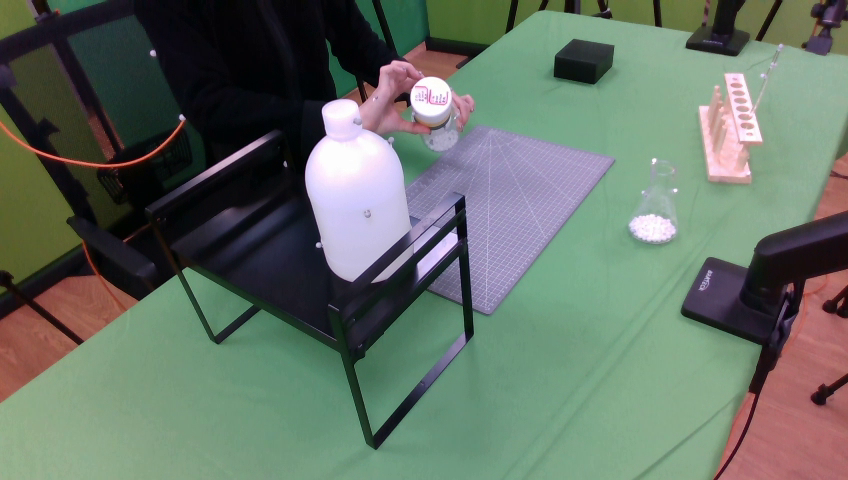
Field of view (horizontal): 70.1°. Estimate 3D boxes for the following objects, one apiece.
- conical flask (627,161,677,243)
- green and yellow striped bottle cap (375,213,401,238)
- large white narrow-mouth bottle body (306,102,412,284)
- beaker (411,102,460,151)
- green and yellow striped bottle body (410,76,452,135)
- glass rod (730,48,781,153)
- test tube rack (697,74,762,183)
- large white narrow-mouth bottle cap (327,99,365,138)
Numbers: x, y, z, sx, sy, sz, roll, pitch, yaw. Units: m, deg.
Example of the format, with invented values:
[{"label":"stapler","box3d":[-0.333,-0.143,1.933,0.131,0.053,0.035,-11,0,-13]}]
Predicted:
[{"label":"conical flask","box3d":[0.355,-0.061,0.921,0.075,0.122,0.075,-4,41,4]},{"label":"green and yellow striped bottle cap","box3d":[-0.061,-0.025,1.016,0.045,0.020,0.045,-2,42,2]},{"label":"large white narrow-mouth bottle body","box3d":[-0.070,-0.051,0.637,0.102,0.195,0.101,-3,40,3]},{"label":"beaker","box3d":[0.026,-0.203,1.062,0.084,0.100,0.074,-10,79,7]},{"label":"green and yellow striped bottle body","box3d":[0.013,-0.207,0.962,0.063,0.120,0.063,0,81,2]},{"label":"glass rod","box3d":[0.554,-0.228,1.015,0.008,0.200,0.008,1,44,-1]},{"label":"test tube rack","box3d":[0.547,-0.208,1.095,0.066,0.085,0.242,5,42,15]},{"label":"large white narrow-mouth bottle cap","box3d":[-0.075,-0.117,0.582,0.038,0.024,0.037,-3,40,3]}]
